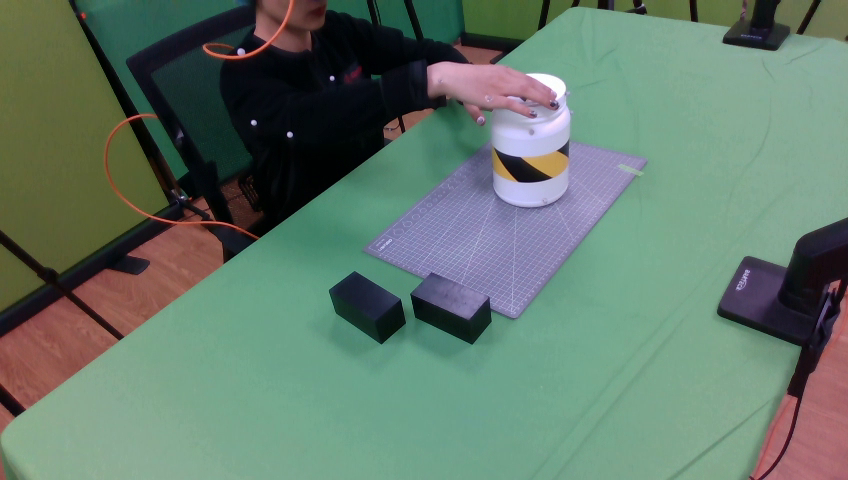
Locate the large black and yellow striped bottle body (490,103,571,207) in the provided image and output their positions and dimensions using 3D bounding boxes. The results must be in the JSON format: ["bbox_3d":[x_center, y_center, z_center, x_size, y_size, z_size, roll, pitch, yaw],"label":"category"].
[{"bbox_3d":[0.178,-0.162,1.009,0.131,0.185,0.130,-6,40,5],"label":"large black and yellow striped bottle body"}]

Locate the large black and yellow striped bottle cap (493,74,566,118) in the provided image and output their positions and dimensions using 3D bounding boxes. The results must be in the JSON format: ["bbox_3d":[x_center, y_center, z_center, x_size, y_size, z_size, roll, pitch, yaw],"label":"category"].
[{"bbox_3d":[0.166,-0.229,0.955,0.115,0.019,0.114,-5,41,5],"label":"large black and yellow striped bottle cap"}]
